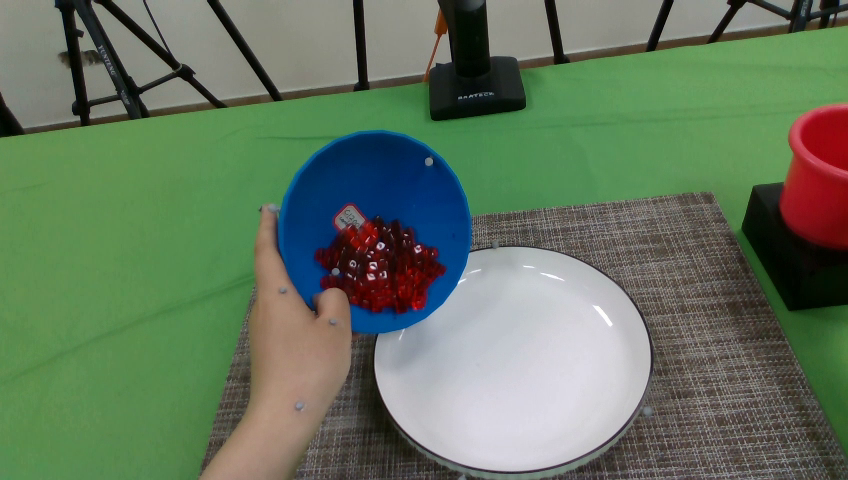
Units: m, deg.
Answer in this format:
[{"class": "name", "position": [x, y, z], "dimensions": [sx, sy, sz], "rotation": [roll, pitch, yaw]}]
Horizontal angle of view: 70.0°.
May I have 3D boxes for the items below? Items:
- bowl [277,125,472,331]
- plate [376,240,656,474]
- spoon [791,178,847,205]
[{"class": "bowl", "position": [-0.046, -0.010, 0.474], "dimensions": [0.151, 0.152, 0.076], "rotation": [-31, 16, -20]}, {"class": "plate", "position": [0.068, 0.085, 0.468], "dimensions": [0.207, 0.039, 0.205], "rotation": [-6, 44, 6]}, {"class": "spoon", "position": [0.315, -0.047, 0.398], "dimensions": [0.041, 0.194, 0.021], "rotation": [-24, 84, -6]}]
